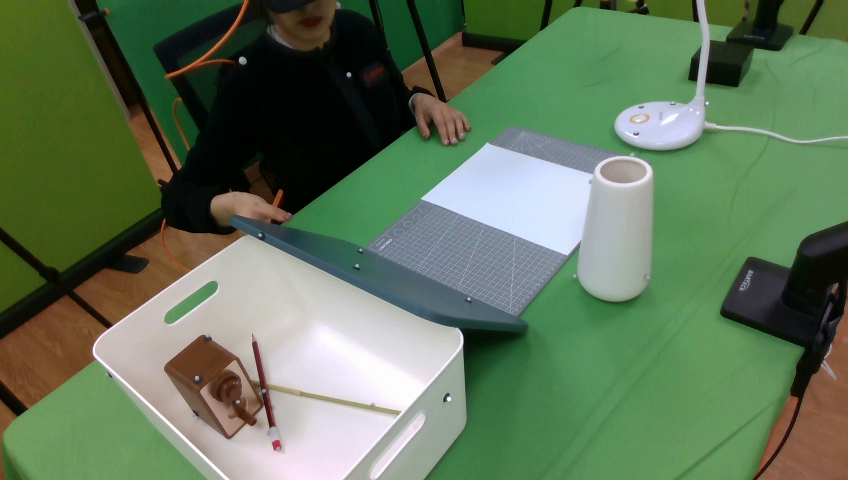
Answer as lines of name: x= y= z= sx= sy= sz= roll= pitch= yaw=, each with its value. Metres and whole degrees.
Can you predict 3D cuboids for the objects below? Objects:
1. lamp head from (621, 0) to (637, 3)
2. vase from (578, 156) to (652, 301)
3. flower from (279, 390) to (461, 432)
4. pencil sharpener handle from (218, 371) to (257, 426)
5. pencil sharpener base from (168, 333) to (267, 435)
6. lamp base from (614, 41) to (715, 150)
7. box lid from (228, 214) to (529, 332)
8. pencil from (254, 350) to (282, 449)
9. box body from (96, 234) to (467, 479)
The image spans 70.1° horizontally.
lamp head: x=0.319 y=-0.453 z=0.962 sx=0.113 sy=0.123 sz=0.112 roll=20 pitch=33 yaw=-13
vase: x=0.261 y=-0.011 z=0.812 sx=0.098 sy=0.201 sz=0.097 roll=-4 pitch=40 yaw=4
flower: x=-0.122 y=0.203 z=0.771 sx=0.360 sy=0.038 sz=0.044 roll=2 pitch=77 yaw=22
pencil sharpener handle: x=-0.214 y=0.188 z=0.710 sx=0.030 sy=0.068 sz=0.036 roll=21 pitch=40 yaw=32
pencil sharpener base: x=-0.251 y=0.180 z=0.746 sx=0.076 sy=0.107 sz=0.061 roll=21 pitch=51 yaw=32
lamp base: x=0.449 y=-0.277 z=1.106 sx=0.179 sy=0.181 sz=0.160 roll=1 pitch=41 yaw=9
box lid: x=-0.061 y=0.045 z=0.812 sx=0.368 sy=0.265 sz=0.015 roll=22 pitch=93 yaw=32
pencil: x=-0.210 y=0.200 z=0.798 sx=0.012 sy=0.012 sz=0.192 roll=-20 pitch=36 yaw=-13
box body: x=-0.155 y=0.169 z=0.707 sx=0.361 sy=0.161 sz=0.255 roll=23 pitch=49 yaw=33
